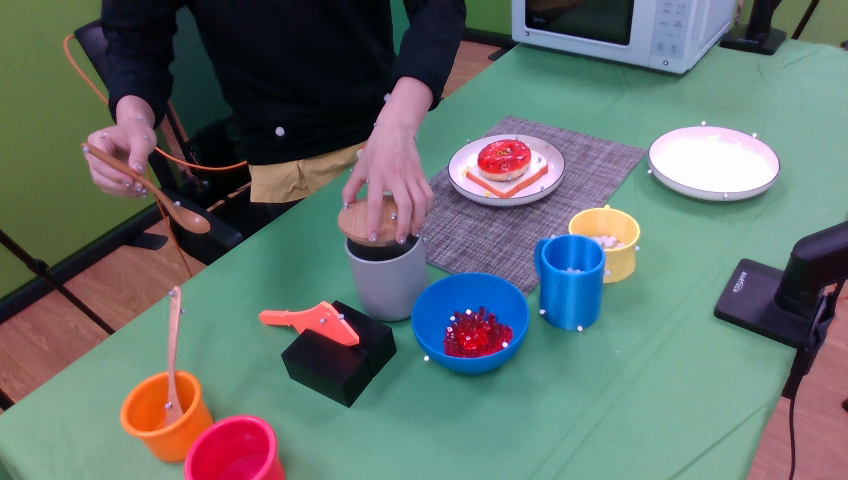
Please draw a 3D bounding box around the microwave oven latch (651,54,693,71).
[{"bbox_3d":[0.531,-0.386,1.301,0.078,0.029,0.030,26,51,33],"label":"microwave oven latch"}]

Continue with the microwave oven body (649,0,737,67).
[{"bbox_3d":[0.475,-0.602,1.411,0.438,0.261,0.327,23,50,32],"label":"microwave oven body"}]

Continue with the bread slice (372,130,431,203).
[{"bbox_3d":[-0.042,-0.127,1.038,0.106,0.135,0.018,29,62,33],"label":"bread slice"}]

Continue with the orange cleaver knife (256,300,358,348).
[{"bbox_3d":[-0.161,0.116,0.813,0.210,0.077,0.012,-9,27,48],"label":"orange cleaver knife"}]

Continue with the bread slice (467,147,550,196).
[{"bbox_3d":[0.157,-0.127,1.085,0.132,0.019,0.104,-35,48,-23],"label":"bread slice"}]

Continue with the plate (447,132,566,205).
[{"bbox_3d":[0.146,-0.124,1.076,0.209,0.038,0.208,-4,41,4],"label":"plate"}]

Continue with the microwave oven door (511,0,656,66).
[{"bbox_3d":[0.351,-0.539,1.348,0.353,0.245,0.039,24,50,31],"label":"microwave oven door"}]

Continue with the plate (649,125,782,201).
[{"bbox_3d":[0.493,-0.127,1.036,0.207,0.039,0.206,-4,41,4],"label":"plate"}]

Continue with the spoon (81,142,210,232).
[{"bbox_3d":[-0.341,-0.064,0.756,0.021,0.195,0.041,-29,50,7],"label":"spoon"}]

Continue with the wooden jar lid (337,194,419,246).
[{"bbox_3d":[-0.061,-0.026,0.804,0.108,0.021,0.108,-1,34,1],"label":"wooden jar lid"}]

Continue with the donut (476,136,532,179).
[{"bbox_3d":[0.140,-0.146,1.058,0.099,0.048,0.098,-6,41,6],"label":"donut"}]

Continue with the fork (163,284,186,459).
[{"bbox_3d":[-0.302,0.157,0.733,0.028,0.019,0.207,-3,84,13],"label":"fork"}]

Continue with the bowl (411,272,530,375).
[{"bbox_3d":[0.061,0.120,0.780,0.151,0.077,0.150,-4,40,4],"label":"bowl"}]

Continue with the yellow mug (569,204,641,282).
[{"bbox_3d":[0.268,-0.004,0.904,0.099,0.064,0.130,7,41,15],"label":"yellow mug"}]

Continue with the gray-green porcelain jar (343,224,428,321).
[{"bbox_3d":[-0.049,0.042,0.849,0.106,0.127,0.105,-4,41,4],"label":"gray-green porcelain jar"}]

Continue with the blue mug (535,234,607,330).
[{"bbox_3d":[0.191,0.048,0.824,0.082,0.106,0.115,-26,44,-21],"label":"blue mug"}]
